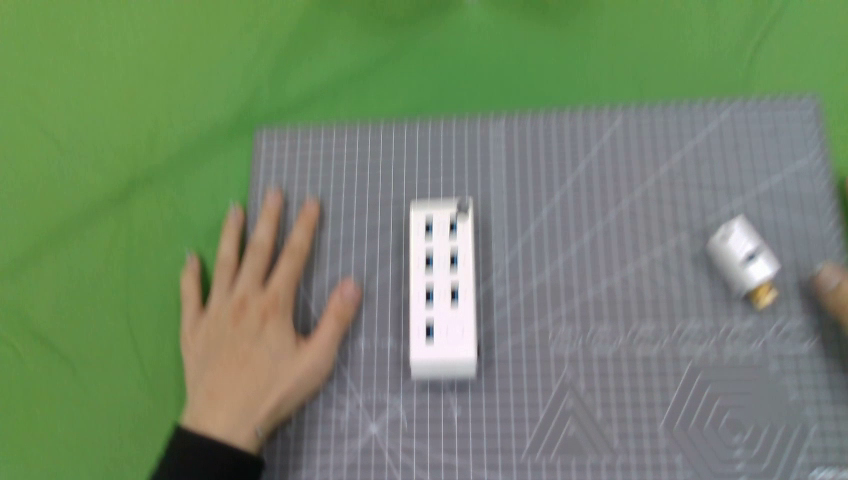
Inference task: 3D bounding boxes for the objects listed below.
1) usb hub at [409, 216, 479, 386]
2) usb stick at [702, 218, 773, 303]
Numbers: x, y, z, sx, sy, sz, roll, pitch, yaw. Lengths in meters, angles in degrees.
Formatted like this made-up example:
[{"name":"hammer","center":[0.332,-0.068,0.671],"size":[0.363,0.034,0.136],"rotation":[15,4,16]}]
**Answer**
[{"name":"usb hub","center":[0.015,0.044,0.453],"size":[0.049,0.025,0.124],"rotation":[-3,72,7]},{"name":"usb stick","center":[0.221,0.013,0.434],"size":[0.021,0.027,0.058],"rotation":[-9,68,-27]}]
